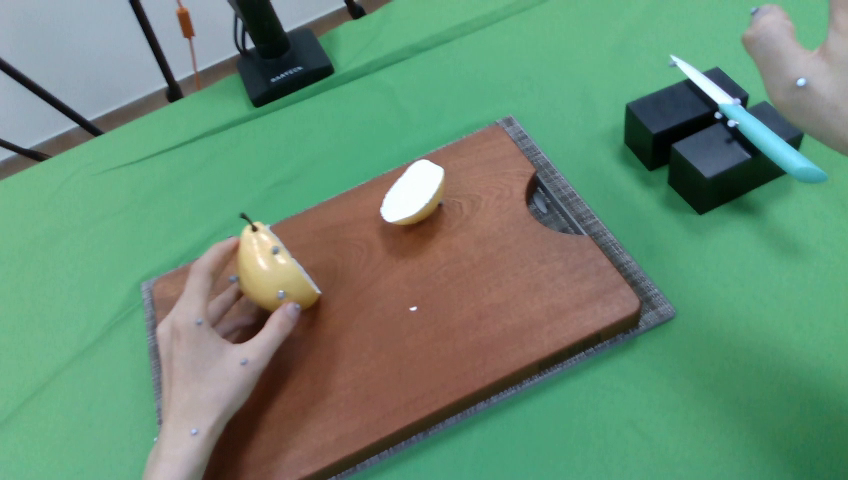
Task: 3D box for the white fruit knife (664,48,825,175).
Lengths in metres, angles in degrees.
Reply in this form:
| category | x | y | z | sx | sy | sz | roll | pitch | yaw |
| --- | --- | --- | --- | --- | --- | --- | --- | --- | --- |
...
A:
| category | x | y | z | sx | sy | sz | roll | pitch | yaw |
| --- | --- | --- | --- | --- | --- | --- | --- | --- | --- |
| white fruit knife | 0.278 | -0.125 | 0.551 | 0.027 | 0.016 | 0.205 | -7 | 45 | -19 |

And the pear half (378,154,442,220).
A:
| category | x | y | z | sx | sy | sz | roll | pitch | yaw |
| --- | --- | --- | --- | --- | --- | --- | --- | --- | --- |
| pear half | -0.008 | -0.047 | 0.587 | 0.070 | 0.031 | 0.087 | -14 | 36 | 25 |

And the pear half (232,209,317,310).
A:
| category | x | y | z | sx | sy | sz | roll | pitch | yaw |
| --- | --- | --- | --- | --- | --- | --- | --- | --- | --- |
| pear half | -0.143 | 0.018 | 0.526 | 0.056 | 0.111 | 0.075 | -40 | 44 | -16 |
